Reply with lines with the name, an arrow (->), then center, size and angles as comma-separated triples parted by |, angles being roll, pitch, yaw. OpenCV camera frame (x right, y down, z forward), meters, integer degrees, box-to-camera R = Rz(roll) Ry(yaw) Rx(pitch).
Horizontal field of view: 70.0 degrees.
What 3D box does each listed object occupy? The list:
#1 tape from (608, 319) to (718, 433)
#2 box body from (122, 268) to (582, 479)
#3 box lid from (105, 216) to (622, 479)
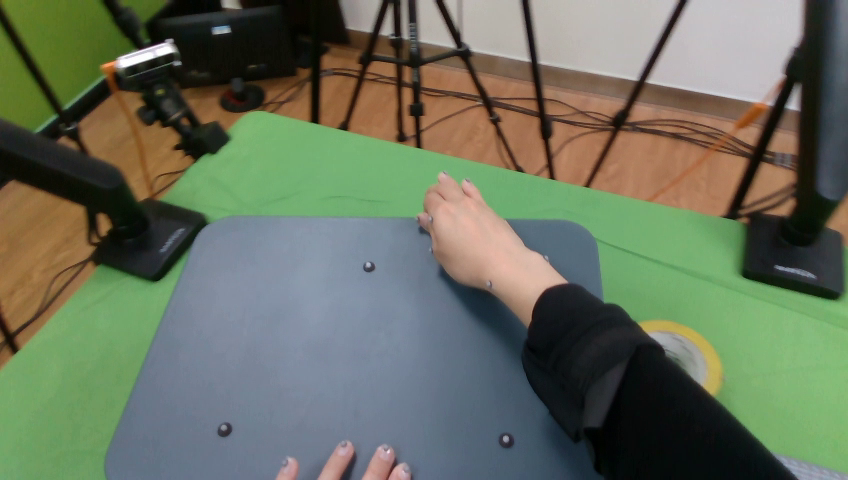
tape -> 0.256, 0.147, 0.667 | 0.117, 0.053, 0.115 | -1, 47, 1
box body -> -0.053, 0.177, 0.583 | 0.364, 0.162, 0.251 | -2, 49, 2
box lid -> -0.038, 0.085, 0.486 | 0.371, 0.015, 0.261 | 1, 52, 6
